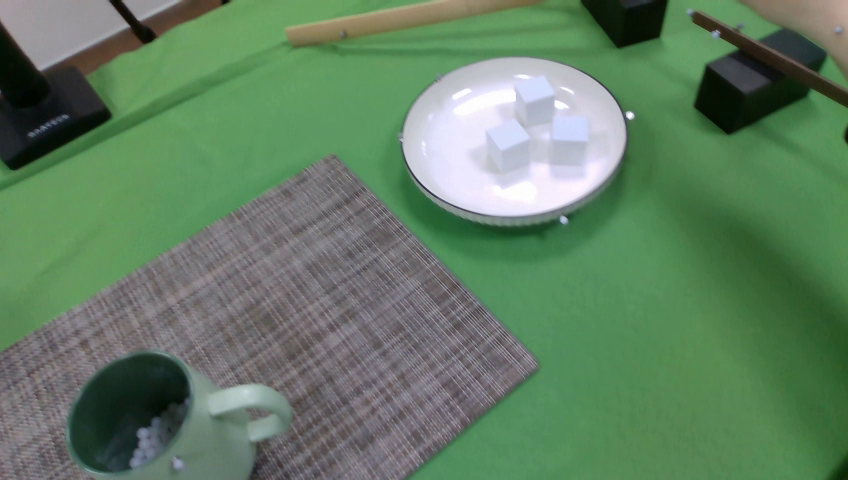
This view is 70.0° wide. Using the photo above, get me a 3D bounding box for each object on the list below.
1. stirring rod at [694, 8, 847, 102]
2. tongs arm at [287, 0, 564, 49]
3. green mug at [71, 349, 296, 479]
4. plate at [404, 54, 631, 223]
[{"bbox_3d":[0.315,-0.167,0.543,0.006,0.014,0.174,-32,56,-18],"label":"stirring rod"},{"bbox_3d":[0.029,-0.257,0.668,0.387,0.028,0.028,-6,48,14],"label":"tongs arm"},{"bbox_3d":[-0.149,0.126,0.404,0.125,0.106,0.091,-15,54,-3],"label":"green mug"},{"bbox_3d":[0.086,-0.096,0.574,0.207,0.039,0.205,-4,55,5],"label":"plate"}]
